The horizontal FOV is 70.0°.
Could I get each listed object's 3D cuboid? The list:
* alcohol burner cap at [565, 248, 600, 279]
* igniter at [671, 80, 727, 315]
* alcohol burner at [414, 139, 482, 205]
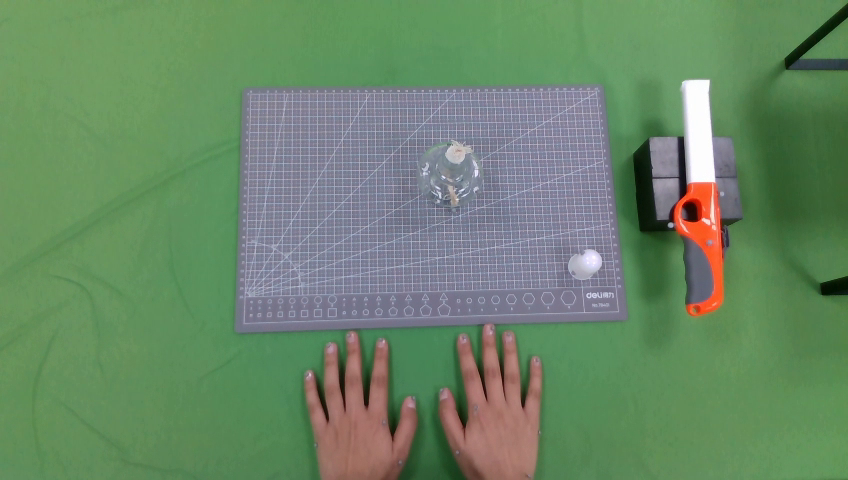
[{"bbox_3d":[0.185,0.026,0.697,0.034,0.048,0.033,1,76,-2],"label":"alcohol burner cap"},{"bbox_3d":[0.308,-0.052,0.684,0.057,0.025,0.275,1,77,9],"label":"igniter"},{"bbox_3d":[0.029,-0.082,0.676,0.078,0.119,0.077,1,77,-4],"label":"alcohol burner"}]
